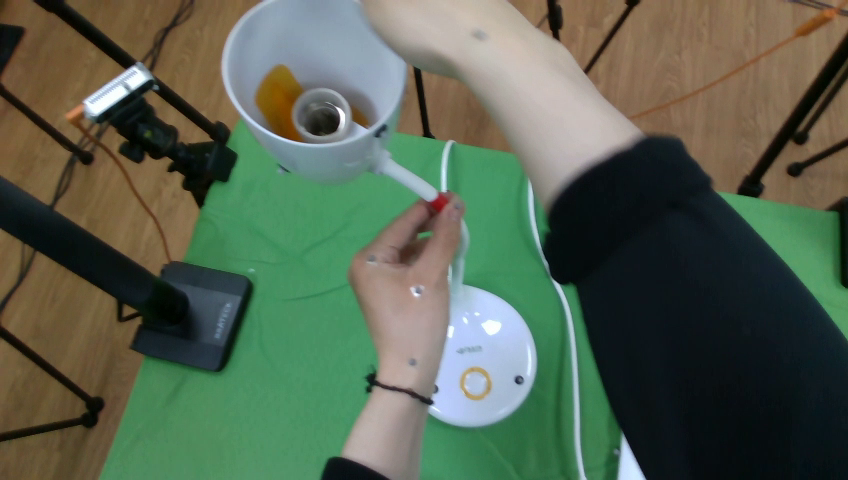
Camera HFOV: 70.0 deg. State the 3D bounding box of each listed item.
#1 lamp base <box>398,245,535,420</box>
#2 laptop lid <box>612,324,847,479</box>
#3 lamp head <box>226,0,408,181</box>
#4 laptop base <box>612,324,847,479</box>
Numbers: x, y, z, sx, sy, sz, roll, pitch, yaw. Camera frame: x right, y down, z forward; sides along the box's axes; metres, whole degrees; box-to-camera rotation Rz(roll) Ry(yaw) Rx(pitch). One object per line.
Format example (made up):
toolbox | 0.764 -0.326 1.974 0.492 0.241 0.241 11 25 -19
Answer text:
lamp base | 0.042 0.090 0.646 0.161 0.181 0.177 -18 67 -5
laptop lid | 0.388 0.235 0.654 0.356 0.013 0.240 12 71 7
lamp head | -0.065 -0.090 0.423 0.112 0.123 0.111 0 69 0
laptop base | 0.389 0.237 0.667 0.354 0.023 0.234 11 72 6
